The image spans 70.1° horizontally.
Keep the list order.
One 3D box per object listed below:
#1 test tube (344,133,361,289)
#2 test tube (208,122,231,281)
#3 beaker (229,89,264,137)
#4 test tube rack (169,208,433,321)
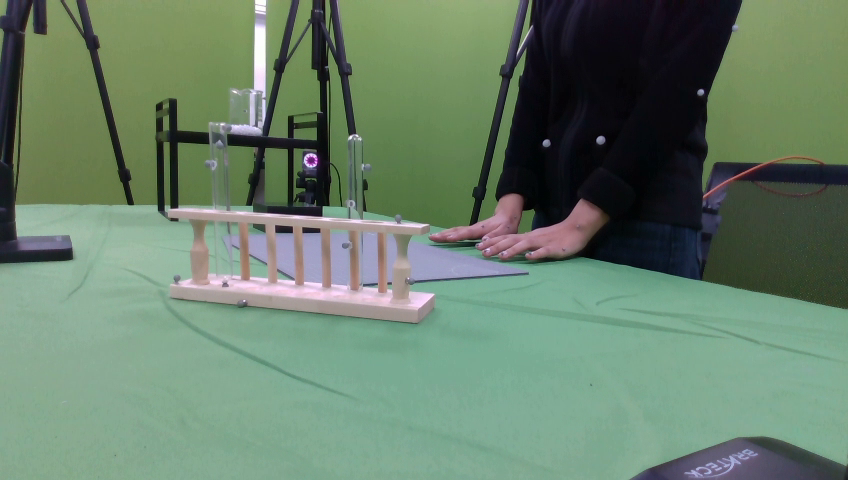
[{"bbox_3d":[-0.068,-0.025,0.575,0.017,0.150,0.017,1,11,0],"label":"test tube"},{"bbox_3d":[-0.191,-0.034,0.565,0.017,0.150,0.017,1,11,0],"label":"test tube"},{"bbox_3d":[-0.391,-0.277,1.329,0.074,0.100,0.084,2,8,-1],"label":"beaker"},{"bbox_3d":[-0.115,0.018,0.574,0.242,0.085,0.067,4,8,13],"label":"test tube rack"}]
